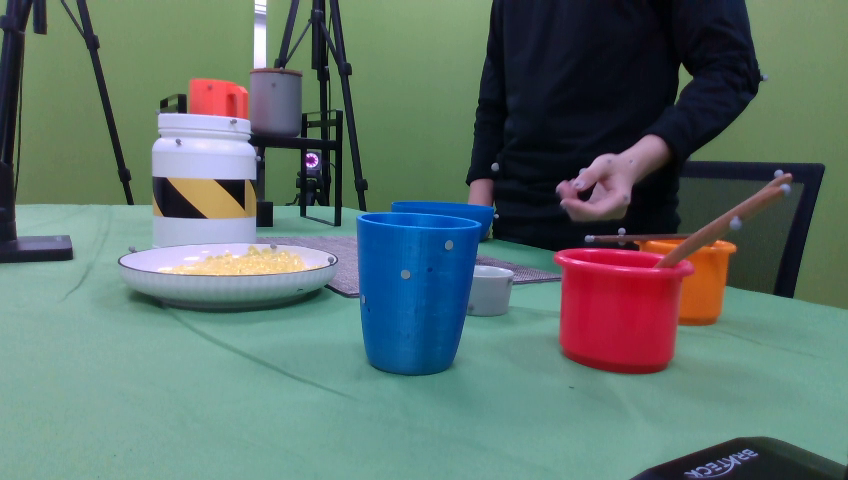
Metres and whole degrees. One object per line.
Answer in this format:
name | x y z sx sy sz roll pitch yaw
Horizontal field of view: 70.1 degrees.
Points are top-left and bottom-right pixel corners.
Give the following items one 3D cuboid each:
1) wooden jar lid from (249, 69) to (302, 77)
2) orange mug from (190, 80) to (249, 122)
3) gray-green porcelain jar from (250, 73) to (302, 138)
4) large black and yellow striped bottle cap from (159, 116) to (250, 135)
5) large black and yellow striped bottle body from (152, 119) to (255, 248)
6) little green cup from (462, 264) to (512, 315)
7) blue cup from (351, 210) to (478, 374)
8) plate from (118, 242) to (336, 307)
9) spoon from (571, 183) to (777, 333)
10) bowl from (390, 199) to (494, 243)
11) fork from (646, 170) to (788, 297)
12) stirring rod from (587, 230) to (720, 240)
wooden jar lid | -0.309 -0.341 1.262 0.108 0.020 0.108 1 8 0
orange mug | -0.393 -0.257 1.173 0.126 0.100 0.084 1 6 25
gray-green porcelain jar | -0.312 -0.280 1.270 0.106 0.126 0.106 3 8 0
large black and yellow striped bottle cap | -0.292 -0.153 0.810 0.115 0.019 0.115 3 9 0
large black and yellow striped bottle body | -0.296 -0.070 0.819 0.131 0.184 0.130 2 7 0
little green cup | 0.053 0.047 0.579 0.061 0.038 0.061 3 8 0
blue cup | -0.009 0.034 0.414 0.093 0.100 0.092 4 8 0
plate | -0.194 0.033 0.615 0.209 0.038 0.209 2 7 0
spoon | 0.161 0.020 0.413 0.042 0.021 0.193 1 -36 -24
bowl | 0.024 -0.015 0.871 0.151 0.077 0.151 3 7 0
fork | 0.256 0.004 0.543 0.028 0.018 0.207 3 -36 -9
stirring rod | 0.226 -0.005 0.587 0.177 0.006 0.014 -2 9 -29
